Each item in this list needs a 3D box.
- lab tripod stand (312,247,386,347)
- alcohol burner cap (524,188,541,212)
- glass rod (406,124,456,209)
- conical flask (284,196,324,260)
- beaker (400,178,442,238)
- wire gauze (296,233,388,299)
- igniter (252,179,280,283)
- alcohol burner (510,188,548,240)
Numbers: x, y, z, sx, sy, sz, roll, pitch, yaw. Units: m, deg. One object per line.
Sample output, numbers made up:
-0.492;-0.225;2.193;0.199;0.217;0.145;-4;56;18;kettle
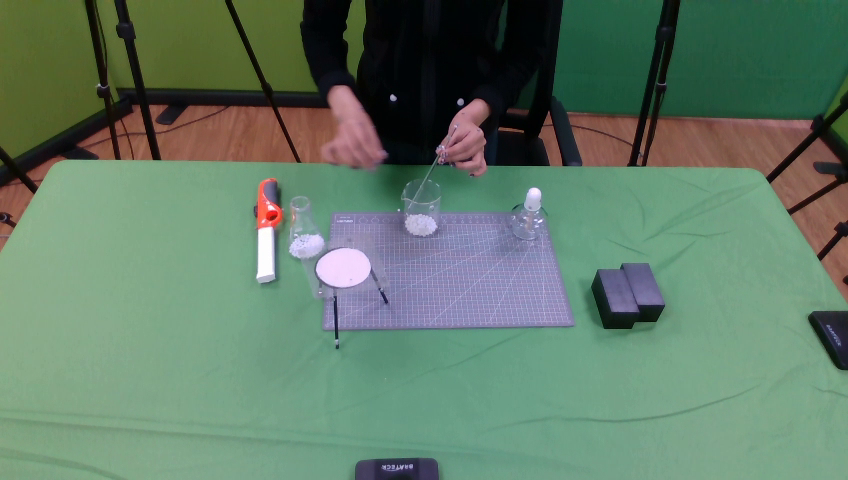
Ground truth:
-0.134;0.085;1.028;0.148;0.132;0.147;2;45;-1;lab tripod stand
0.212;-0.081;1.177;0.034;0.048;0.033;-2;54;2;alcohol burner cap
0.011;-0.133;1.122;0.008;0.200;0.008;22;34;-15;glass rod
-0.230;-0.026;1.137;0.075;0.122;0.075;2;46;-2;conical flask
-0.009;-0.059;1.200;0.084;0.101;0.073;-14;48;-17;beaker
-0.133;0.041;0.977;0.125;0.011;0.120;-12;47;-16;wire gauze
-0.312;-0.027;1.197;0.057;0.025;0.274;-12;47;-2;igniter
0.211;-0.057;1.204;0.078;0.120;0.077;1;47;-1;alcohol burner
